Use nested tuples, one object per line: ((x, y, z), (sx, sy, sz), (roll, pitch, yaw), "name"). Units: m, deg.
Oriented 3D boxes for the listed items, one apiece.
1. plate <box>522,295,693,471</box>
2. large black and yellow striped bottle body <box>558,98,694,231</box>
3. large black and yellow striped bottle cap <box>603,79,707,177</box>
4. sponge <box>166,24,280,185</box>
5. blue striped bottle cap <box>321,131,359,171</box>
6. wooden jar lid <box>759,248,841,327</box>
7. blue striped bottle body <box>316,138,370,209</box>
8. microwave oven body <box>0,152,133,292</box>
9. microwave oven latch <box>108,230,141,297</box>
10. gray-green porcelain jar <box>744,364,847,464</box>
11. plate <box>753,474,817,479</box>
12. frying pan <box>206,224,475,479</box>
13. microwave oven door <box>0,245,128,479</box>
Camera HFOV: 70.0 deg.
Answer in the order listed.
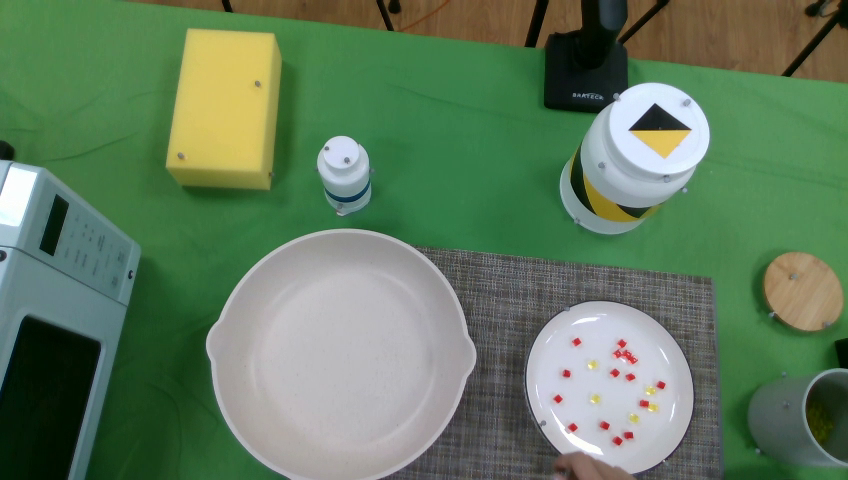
((0.221, 0.172, 0.744), (0.209, 0.038, 0.208), (1, 73, -3), "plate")
((0.253, -0.100, 0.759), (0.131, 0.185, 0.130), (1, 72, -3), "large black and yellow striped bottle body")
((0.259, -0.126, 0.679), (0.115, 0.019, 0.114), (1, 74, -3), "large black and yellow striped bottle cap")
((-0.264, -0.181, 0.813), (0.118, 0.061, 0.205), (1, 73, -4), "sponge")
((-0.099, -0.106, 0.716), (0.044, 0.021, 0.044), (1, 74, -3), "blue striped bottle cap")
((0.499, 0.064, 0.810), (0.108, 0.021, 0.108), (1, 74, -3), "wooden jar lid")
((-0.101, -0.089, 0.764), (0.063, 0.121, 0.062), (1, 72, -3), "blue striped bottle body")
((-0.528, 0.148, 0.586), (0.326, 0.261, 0.439), (7, 73, -2), "microwave oven body")
((-0.368, 0.028, 0.735), (0.030, 0.029, 0.078), (9, 73, -1), "microwave oven latch")
((0.450, 0.204, 0.707), (0.106, 0.127, 0.105), (1, 72, -3), "gray-green porcelain jar")
((0.424, 0.378, 0.699), (0.208, 0.039, 0.206), (1, 72, -3), "plate")
((-0.104, 0.220, 0.673), (0.307, 0.103, 0.484), (5, 64, 1), "frying pan")
((-0.387, 0.204, 0.573), (0.039, 0.245, 0.353), (6, 72, -1), "microwave oven door")
